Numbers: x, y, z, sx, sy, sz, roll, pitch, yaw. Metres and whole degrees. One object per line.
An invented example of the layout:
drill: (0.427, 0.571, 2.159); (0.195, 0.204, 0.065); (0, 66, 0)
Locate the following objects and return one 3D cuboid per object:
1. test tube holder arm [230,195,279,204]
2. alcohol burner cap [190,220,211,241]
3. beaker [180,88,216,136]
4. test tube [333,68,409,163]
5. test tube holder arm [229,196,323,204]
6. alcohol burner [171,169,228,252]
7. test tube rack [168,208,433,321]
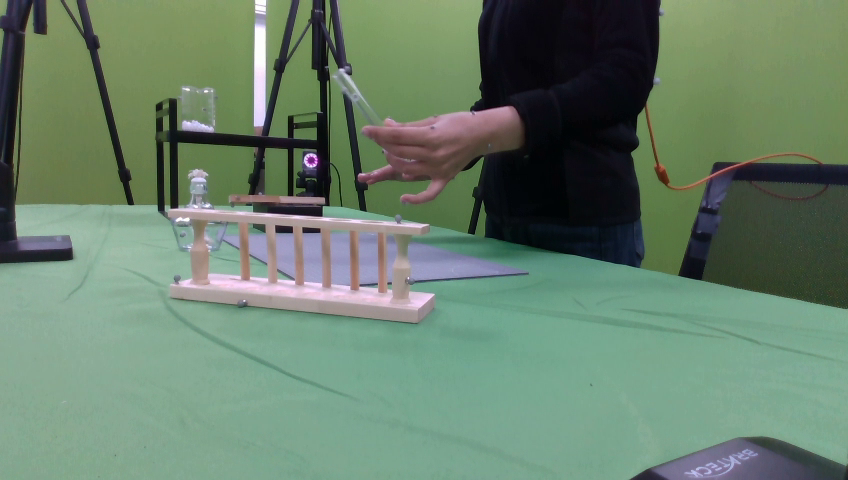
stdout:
test tube holder arm: (-0.311, -0.075, 1.115); (0.088, 0.015, 0.010); (-2, 1, -31)
alcohol burner cap: (-0.365, -0.023, 0.988); (0.034, 0.048, 0.034); (1, 7, 0)
beaker: (-0.498, -0.283, 1.339); (0.074, 0.100, 0.083); (-2, 9, -28)
test tube: (-0.064, -0.154, 0.768); (0.017, 0.017, 0.151); (12, -32, 52)
test tube holder arm: (-0.276, -0.076, 1.143); (0.179, 0.015, 0.013); (-2, 1, -32)
alcohol burner: (-0.325, -0.043, 0.875); (0.078, 0.119, 0.078); (0, 7, 0)
test tube rack: (-0.115, 0.017, 0.574); (0.242, 0.085, 0.067); (4, 8, 13)
